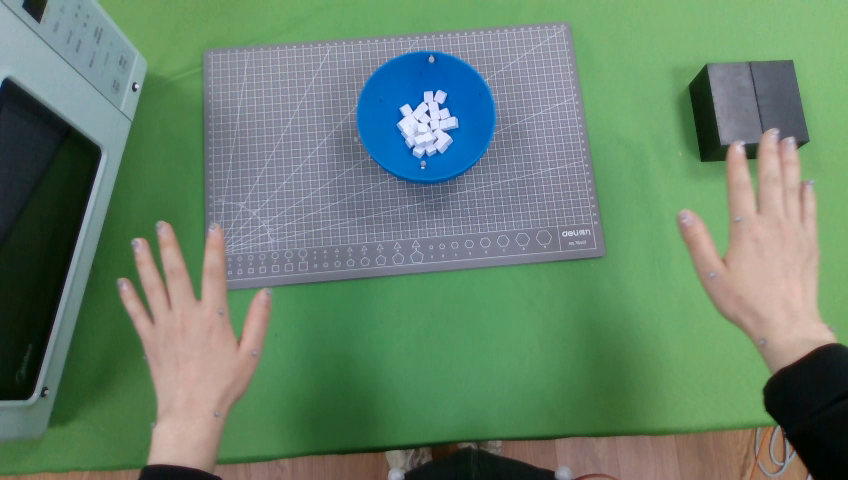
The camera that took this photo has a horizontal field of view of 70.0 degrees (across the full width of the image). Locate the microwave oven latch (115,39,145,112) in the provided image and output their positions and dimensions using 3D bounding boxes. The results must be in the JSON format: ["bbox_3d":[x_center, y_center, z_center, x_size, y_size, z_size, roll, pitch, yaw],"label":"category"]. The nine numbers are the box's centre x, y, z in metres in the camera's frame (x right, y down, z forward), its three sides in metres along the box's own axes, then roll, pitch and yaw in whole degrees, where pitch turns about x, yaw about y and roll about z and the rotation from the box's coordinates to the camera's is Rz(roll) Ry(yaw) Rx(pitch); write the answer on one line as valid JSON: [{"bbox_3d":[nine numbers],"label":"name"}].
[{"bbox_3d":[-0.344,-0.190,0.694,0.030,0.029,0.079,10,78,1],"label":"microwave oven latch"}]

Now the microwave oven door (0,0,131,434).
[{"bbox_3d":[-0.381,-0.003,0.548,0.039,0.245,0.354,9,77,2],"label":"microwave oven door"}]

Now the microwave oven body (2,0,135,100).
[{"bbox_3d":[-0.518,-0.065,0.566,0.326,0.261,0.440,9,78,1],"label":"microwave oven body"}]

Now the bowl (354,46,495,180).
[{"bbox_3d":[0.001,-0.129,0.678,0.151,0.077,0.150,0,77,0],"label":"bowl"}]
